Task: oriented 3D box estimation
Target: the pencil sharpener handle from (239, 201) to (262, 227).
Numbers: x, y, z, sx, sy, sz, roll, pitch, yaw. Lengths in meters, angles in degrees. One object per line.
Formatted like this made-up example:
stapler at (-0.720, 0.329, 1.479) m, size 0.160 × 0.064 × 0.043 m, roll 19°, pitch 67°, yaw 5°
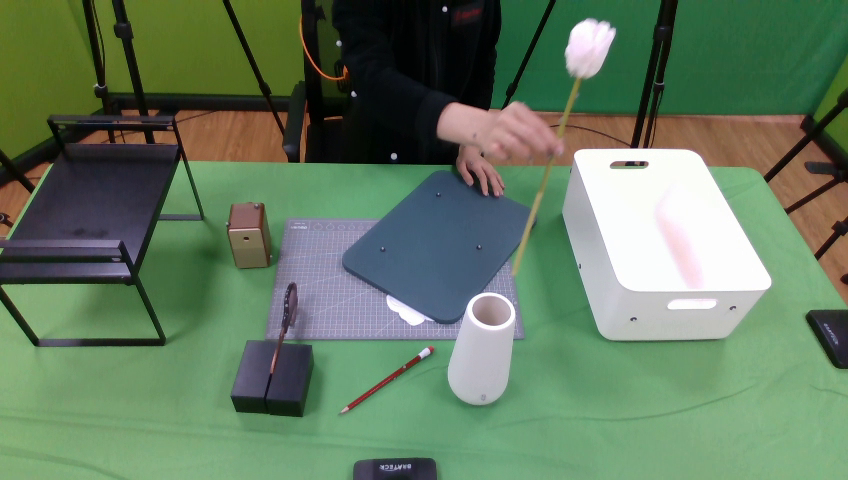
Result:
pencil sharpener handle at (-0.325, -0.056, 1.150) m, size 0.036 × 0.068 × 0.030 m, roll -13°, pitch 46°, yaw 3°

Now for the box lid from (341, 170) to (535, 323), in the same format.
box lid at (0.038, -0.004, 1.210) m, size 0.262 × 0.015 × 0.371 m, roll 27°, pitch 49°, yaw 21°

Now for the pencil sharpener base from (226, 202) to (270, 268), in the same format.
pencil sharpener base at (-0.323, -0.010, 1.123) m, size 0.061 × 0.107 × 0.076 m, roll -3°, pitch 46°, yaw -7°

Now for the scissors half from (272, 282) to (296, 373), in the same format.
scissors half at (-0.229, 0.139, 0.986) m, size 0.013 × 0.040 × 0.174 m, roll 5°, pitch 51°, yaw -3°

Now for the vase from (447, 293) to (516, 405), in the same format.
vase at (0.091, 0.169, 0.921) m, size 0.098 × 0.201 × 0.097 m, roll 3°, pitch 47°, yaw -3°

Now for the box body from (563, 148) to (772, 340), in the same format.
box body at (0.421, 0.003, 1.130) m, size 0.254 × 0.161 × 0.361 m, roll 0°, pitch 46°, yaw -5°

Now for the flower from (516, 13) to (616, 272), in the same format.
flower at (0.160, -0.097, 0.752) m, size 0.044 × 0.363 × 0.038 m, roll 2°, pitch 38°, yaw -11°

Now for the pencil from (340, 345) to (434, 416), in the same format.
pencil at (-0.058, 0.228, 0.984) m, size 0.194 × 0.012 × 0.012 m, roll -32°, pitch 57°, yaw -28°

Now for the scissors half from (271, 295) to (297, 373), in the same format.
scissors half at (-0.230, 0.154, 1.000) m, size 0.013 × 0.040 × 0.174 m, roll 1°, pitch 34°, yaw 1°
